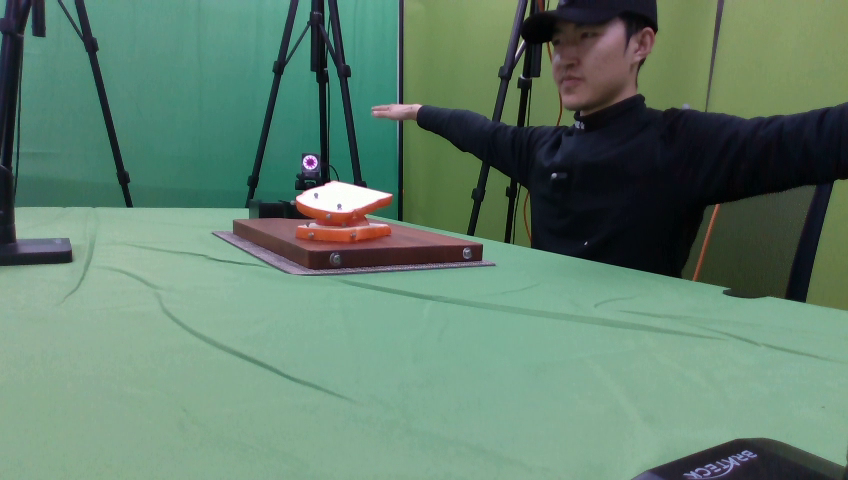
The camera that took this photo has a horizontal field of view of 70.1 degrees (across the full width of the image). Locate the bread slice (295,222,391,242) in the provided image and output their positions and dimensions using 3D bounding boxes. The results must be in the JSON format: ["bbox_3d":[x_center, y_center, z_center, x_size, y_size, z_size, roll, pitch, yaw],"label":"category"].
[{"bbox_3d":[-0.123,-0.014,0.889,0.104,0.019,0.132,3,7,23],"label":"bread slice"}]

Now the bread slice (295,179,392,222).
[{"bbox_3d":[-0.121,-0.058,0.884,0.106,0.018,0.134,13,24,18],"label":"bread slice"}]
